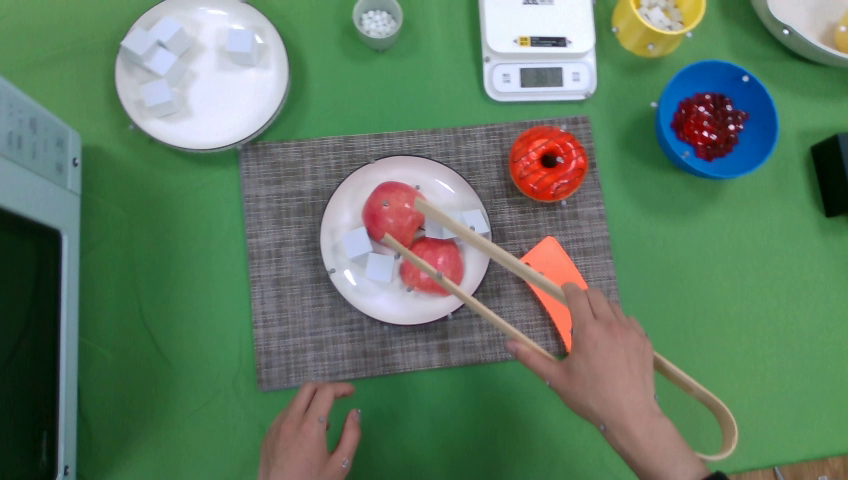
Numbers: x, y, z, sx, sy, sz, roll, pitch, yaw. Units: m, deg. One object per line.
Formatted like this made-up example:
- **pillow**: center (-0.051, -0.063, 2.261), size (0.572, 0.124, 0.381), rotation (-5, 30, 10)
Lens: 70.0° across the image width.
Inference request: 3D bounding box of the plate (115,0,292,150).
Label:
- **plate**: center (-0.268, -0.208, 0.750), size (0.208, 0.039, 0.207), rotation (1, 80, -4)

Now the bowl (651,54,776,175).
- **bowl**: center (0.350, -0.147, 0.767), size (0.151, 0.077, 0.151), rotation (1, 81, -4)

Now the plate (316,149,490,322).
- **plate**: center (-0.025, -0.005, 0.731), size (0.209, 0.038, 0.208), rotation (1, 81, -4)

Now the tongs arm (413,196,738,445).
- **tongs arm**: center (0.140, 0.070, 0.607), size (0.386, 0.028, 0.028), rotation (36, 63, 12)

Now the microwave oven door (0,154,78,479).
- **microwave oven door**: center (-0.401, 0.098, 0.568), size (0.039, 0.244, 0.354), rotation (-4, 81, -5)

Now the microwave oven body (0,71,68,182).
- **microwave oven body**: center (-0.549, 0.066, 0.567), size (0.326, 0.260, 0.440), rotation (-3, 82, -5)

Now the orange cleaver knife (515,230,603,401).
- **orange cleaver knife**: center (0.180, 0.090, 0.742), size (0.077, 0.012, 0.210), rotation (-24, 83, -12)

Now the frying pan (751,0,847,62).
- **frying pan**: center (0.624, -0.288, 0.797), size (0.307, 0.103, 0.485), rotation (-33, 77, -8)

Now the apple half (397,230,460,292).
- **apple half**: center (0.006, 0.023, 0.722), size (0.081, 0.033, 0.081), rotation (0, 83, -1)

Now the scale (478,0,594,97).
- **scale**: center (0.147, -0.288, 0.798), size (0.149, 0.031, 0.200), rotation (-2, 81, -4)

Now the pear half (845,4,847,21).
- **pear half**: center (0.606, -0.311, 0.802), size (0.070, 0.088, 0.031), rotation (28, 81, 4)

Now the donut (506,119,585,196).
- **donut**: center (0.151, -0.103, 0.758), size (0.099, 0.048, 0.098), rotation (0, 81, -2)

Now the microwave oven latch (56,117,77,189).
- **microwave oven latch**: center (-0.421, -0.100, 0.701), size (0.030, 0.029, 0.079), rotation (-2, 82, -5)

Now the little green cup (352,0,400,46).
- **little green cup**: center (-0.061, -0.282, 0.778), size (0.061, 0.039, 0.061), rotation (1, 80, -4)

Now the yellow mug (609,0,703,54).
- **yellow mug**: center (0.294, -0.317, 0.796), size (0.100, 0.064, 0.130), rotation (-39, 85, -9)

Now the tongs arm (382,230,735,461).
- **tongs arm**: center (0.120, 0.093, 0.594), size (0.383, 0.027, 0.050), rotation (38, 66, 13)

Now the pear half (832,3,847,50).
- **pear half**: center (0.586, -0.284, 0.786), size (0.076, 0.110, 0.056), rotation (30, 80, 5)

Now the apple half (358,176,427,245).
- **apple half**: center (-0.037, -0.040, 0.721), size (0.074, 0.053, 0.080), rotation (38, 79, 5)
